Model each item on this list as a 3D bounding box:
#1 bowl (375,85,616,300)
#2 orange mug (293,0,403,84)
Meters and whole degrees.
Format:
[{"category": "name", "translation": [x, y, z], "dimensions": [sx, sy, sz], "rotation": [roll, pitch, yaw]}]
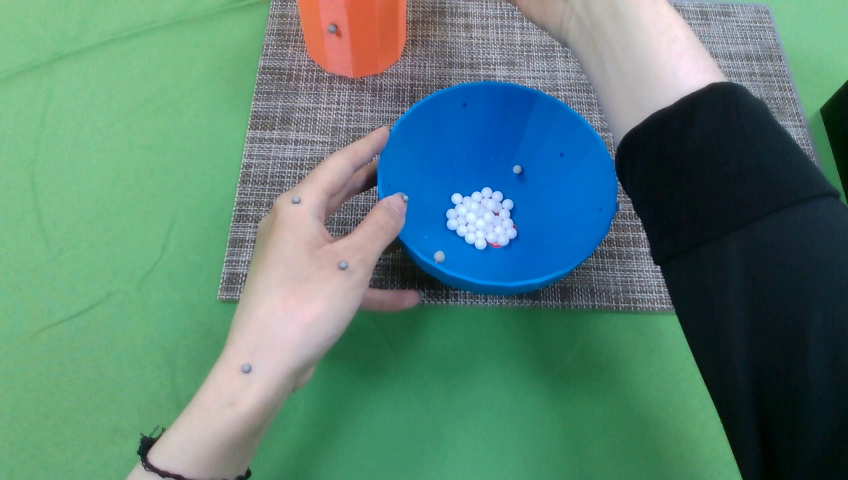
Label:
[{"category": "bowl", "translation": [0.043, -0.020, 0.407], "dimensions": [0.151, 0.077, 0.150], "rotation": [1, 63, -2]}, {"category": "orange mug", "translation": [-0.056, -0.205, 0.482], "dimensions": [0.083, 0.101, 0.125], "rotation": [13, 68, 4]}]
